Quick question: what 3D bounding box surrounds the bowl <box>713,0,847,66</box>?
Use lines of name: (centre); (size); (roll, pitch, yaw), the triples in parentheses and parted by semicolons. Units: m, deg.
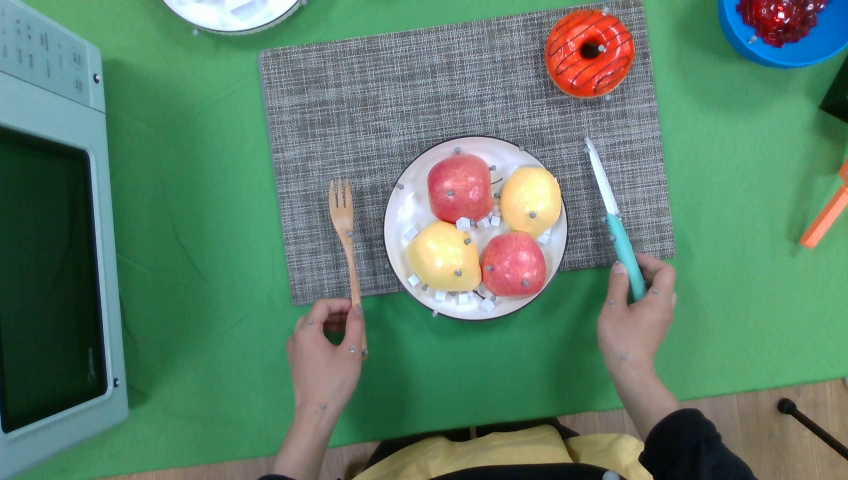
bowl: (0.381, -0.257, 0.662); (0.151, 0.077, 0.151); (0, 91, 2)

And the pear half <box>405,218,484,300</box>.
pear half: (0.031, 0.028, 0.675); (0.110, 0.056, 0.076); (43, 95, -1)

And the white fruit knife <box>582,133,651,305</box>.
white fruit knife: (0.212, -0.026, 0.680); (0.016, 0.027, 0.206); (-28, 74, 45)

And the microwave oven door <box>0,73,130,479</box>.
microwave oven door: (-0.377, 0.027, 0.586); (0.039, 0.244, 0.355); (-5, 89, 2)

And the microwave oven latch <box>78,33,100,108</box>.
microwave oven latch: (-0.389, -0.191, 0.688); (0.030, 0.029, 0.079); (-4, 90, 1)

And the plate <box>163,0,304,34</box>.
plate: (-0.217, -0.339, 0.701); (0.207, 0.039, 0.207); (0, 90, 2)

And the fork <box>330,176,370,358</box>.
fork: (-0.081, 0.031, 0.685); (0.028, 0.019, 0.207); (-8, 88, 22)

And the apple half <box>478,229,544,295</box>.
apple half: (0.090, 0.025, 0.670); (0.081, 0.033, 0.081); (1, 93, 24)

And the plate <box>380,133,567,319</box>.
plate: (0.056, -0.016, 0.688); (0.209, 0.038, 0.209); (0, 90, 2)

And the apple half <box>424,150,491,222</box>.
apple half: (0.037, -0.060, 0.671); (0.074, 0.053, 0.081); (-2, 93, 3)

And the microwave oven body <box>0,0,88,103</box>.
microwave oven body: (-0.526, -0.003, 0.596); (0.326, 0.260, 0.441); (-5, 90, 1)

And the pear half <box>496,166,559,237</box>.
pear half: (0.111, -0.039, 0.673); (0.070, 0.031, 0.088); (17, 93, 22)

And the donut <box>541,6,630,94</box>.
donut: (0.180, -0.213, 0.681); (0.099, 0.048, 0.099); (0, 91, 4)

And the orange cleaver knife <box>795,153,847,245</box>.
orange cleaver knife: (0.472, -0.089, 0.656); (0.012, 0.077, 0.212); (29, 116, 7)
